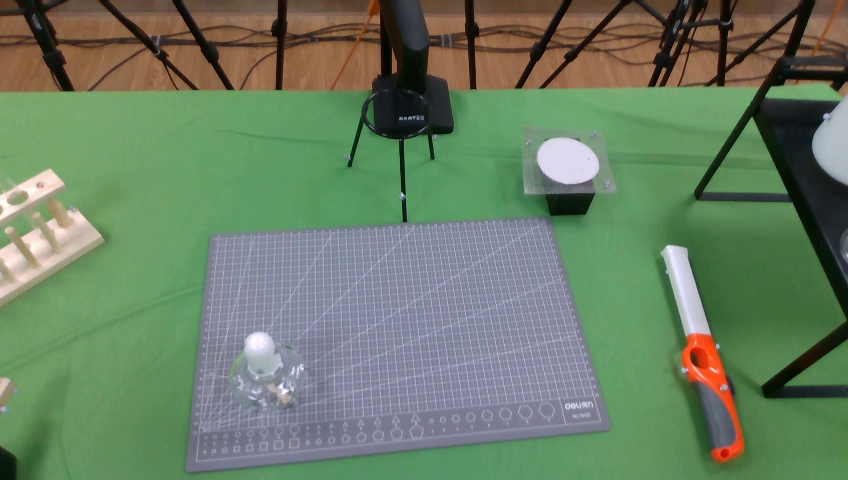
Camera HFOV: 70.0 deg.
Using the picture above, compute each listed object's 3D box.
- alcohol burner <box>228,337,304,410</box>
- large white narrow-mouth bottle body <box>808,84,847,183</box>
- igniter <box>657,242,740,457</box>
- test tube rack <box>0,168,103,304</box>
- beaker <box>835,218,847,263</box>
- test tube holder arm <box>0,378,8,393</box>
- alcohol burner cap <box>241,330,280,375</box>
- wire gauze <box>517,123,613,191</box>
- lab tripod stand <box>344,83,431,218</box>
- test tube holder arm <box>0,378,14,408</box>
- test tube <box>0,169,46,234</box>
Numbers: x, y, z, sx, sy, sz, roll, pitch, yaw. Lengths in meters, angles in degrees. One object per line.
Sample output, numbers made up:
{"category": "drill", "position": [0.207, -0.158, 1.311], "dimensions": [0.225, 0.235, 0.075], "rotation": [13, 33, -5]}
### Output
{"category": "alcohol burner", "position": [-0.164, 0.128, 0.622], "dimensions": [0.078, 0.120, 0.077], "rotation": [3, 53, -4]}
{"category": "large white narrow-mouth bottle body", "position": [0.484, -0.149, 0.603], "dimensions": [0.102, 0.196, 0.101], "rotation": [2, 55, -3]}
{"category": "igniter", "position": [0.325, 0.120, 0.725], "dimensions": [0.057, 0.025, 0.274], "rotation": [8, 54, -11]}
{"category": "test tube rack", "position": [-0.507, 0.026, 0.684], "dimensions": [0.066, 0.086, 0.242], "rotation": [39, 61, 20]}
{"category": "beaker", "position": [0.445, -0.017, 0.566], "dimensions": [0.084, 0.101, 0.073], "rotation": [15, 55, 6]}
{"category": "test tube holder arm", "position": [-0.425, 0.173, 0.574], "dimensions": [0.010, 0.015, 0.087], "rotation": [3, 54, 8]}
{"category": "alcohol burner cap", "position": [-0.162, 0.108, 0.592], "dimensions": [0.034, 0.048, 0.033], "rotation": [1, 50, -1]}
{"category": "wire gauze", "position": [0.189, -0.114, 0.828], "dimensions": [0.121, 0.011, 0.124], "rotation": [3, 55, -2]}
{"category": "lab tripod stand", "position": [-0.039, -0.124, 0.800], "dimensions": [0.148, 0.132, 0.147], "rotation": [3, 56, -4]}
{"category": "test tube holder arm", "position": [-0.426, 0.209, 0.547], "dimensions": [0.013, 0.015, 0.177], "rotation": [4, 54, 8]}
{"category": "test tube", "position": [-0.470, -0.056, 0.684], "dimensions": [0.017, 0.151, 0.017], "rotation": [0, 53, 0]}
